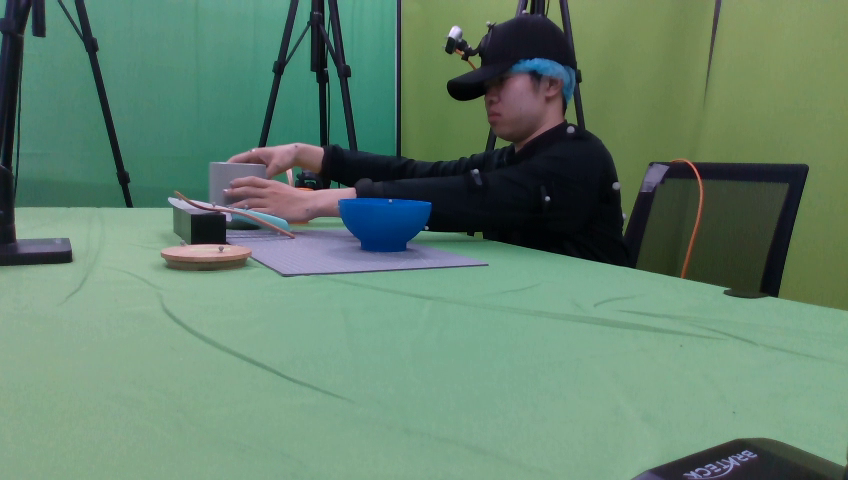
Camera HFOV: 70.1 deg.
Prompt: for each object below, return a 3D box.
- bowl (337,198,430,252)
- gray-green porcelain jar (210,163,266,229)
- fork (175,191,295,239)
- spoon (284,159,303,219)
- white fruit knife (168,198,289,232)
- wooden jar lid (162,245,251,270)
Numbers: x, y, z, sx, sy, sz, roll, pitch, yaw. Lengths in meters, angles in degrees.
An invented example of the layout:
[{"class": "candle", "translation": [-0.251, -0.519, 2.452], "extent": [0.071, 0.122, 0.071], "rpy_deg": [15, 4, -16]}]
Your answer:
[{"class": "bowl", "translation": [-0.066, -0.024, 0.967], "extent": [0.151, 0.077, 0.151], "rpy_deg": [3, 7, 0]}, {"class": "gray-green porcelain jar", "translation": [-0.368, -0.088, 1.194], "extent": [0.106, 0.126, 0.106], "rpy_deg": [3, 8, 0]}, {"class": "fork", "translation": [-0.306, -0.039, 0.993], "extent": [0.208, 0.018, 0.028], "rpy_deg": [19, -9, -34]}, {"class": "spoon", "translation": [-0.302, -0.118, 1.370], "extent": [0.042, 0.193, 0.021], "rpy_deg": [4, -39, -24]}, {"class": "white fruit knife", "translation": [-0.329, -0.044, 1.036], "extent": [0.208, 0.027, 0.016], "rpy_deg": [14, 0, -32]}, {"class": "wooden jar lid", "translation": [-0.278, 0.022, 0.777], "extent": [0.108, 0.020, 0.108], "rpy_deg": [2, 6, 0]}]
